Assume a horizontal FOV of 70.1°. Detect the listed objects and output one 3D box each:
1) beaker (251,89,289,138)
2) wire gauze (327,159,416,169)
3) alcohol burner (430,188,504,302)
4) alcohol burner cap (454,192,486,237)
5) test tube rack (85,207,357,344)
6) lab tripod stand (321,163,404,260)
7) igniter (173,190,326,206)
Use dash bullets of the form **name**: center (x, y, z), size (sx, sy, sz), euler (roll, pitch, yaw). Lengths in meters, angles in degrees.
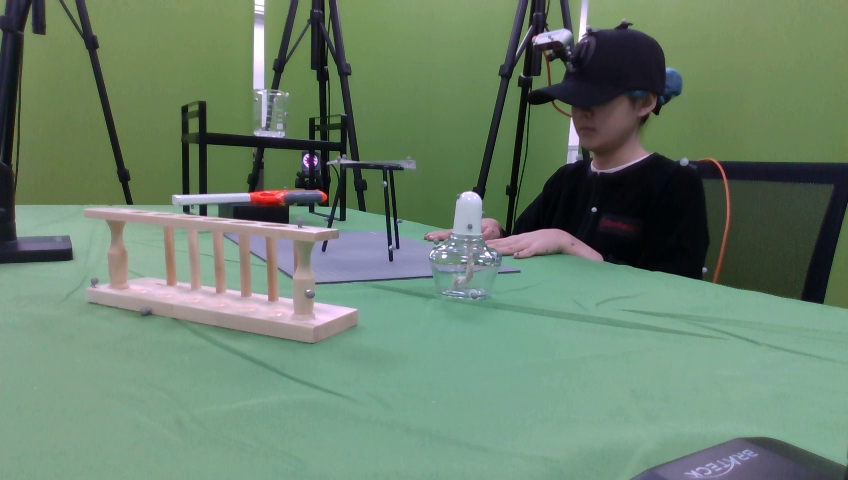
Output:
- **beaker**: center (-0.334, -0.273, 1.316), size (0.084, 0.100, 0.074), euler (6, 8, 15)
- **wire gauze**: center (-0.072, -0.111, 0.872), size (0.121, 0.011, 0.125), euler (3, 5, -2)
- **alcohol burner**: center (0.046, 0.005, 0.634), size (0.078, 0.119, 0.078), euler (5, 7, 0)
- **alcohol burner cap**: center (0.049, -0.026, 0.629), size (0.034, 0.048, 0.034), euler (3, 7, 0)
- **test tube rack**: center (-0.177, 0.022, 0.518), size (0.241, 0.085, 0.067), euler (6, 7, 23)
- **lab tripod stand**: center (-0.075, -0.045, 0.884), size (0.148, 0.131, 0.148), euler (2, 5, 0)
- **igniter**: center (-0.317, -0.079, 1.128), size (0.278, 0.025, 0.057), euler (-4, 13, -32)
